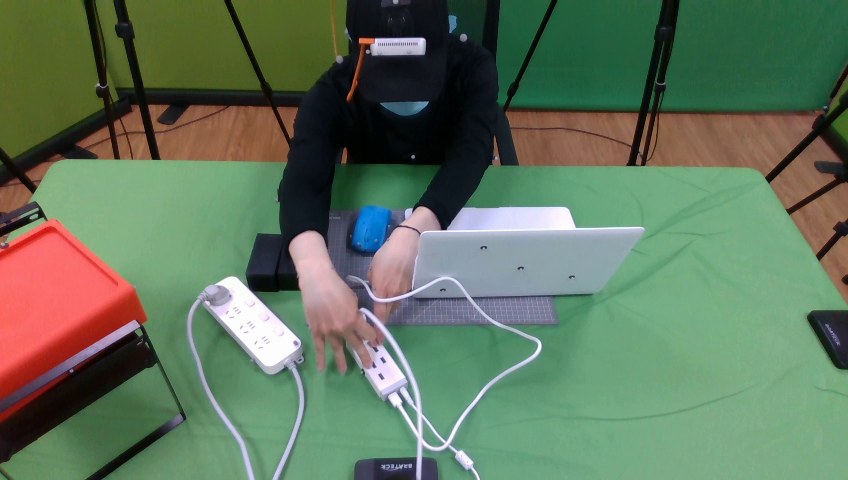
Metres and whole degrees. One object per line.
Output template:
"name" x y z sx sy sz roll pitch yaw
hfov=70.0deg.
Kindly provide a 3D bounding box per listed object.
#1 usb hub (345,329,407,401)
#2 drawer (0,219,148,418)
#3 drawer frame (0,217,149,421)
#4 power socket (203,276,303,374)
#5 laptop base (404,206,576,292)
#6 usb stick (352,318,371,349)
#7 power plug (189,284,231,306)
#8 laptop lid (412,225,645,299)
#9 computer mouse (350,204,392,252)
"usb hub" -0.079 0.202 0.997 0.049 0.025 0.124 -24 53 -24
"drawer" -0.509 0.093 0.783 0.193 0.073 0.211 32 53 24
"drawer frame" -0.510 0.093 0.780 0.201 0.083 0.213 31 52 23
"power socket" -0.296 0.141 1.034 0.072 0.033 0.225 -34 58 -30
"laptop base" 0.143 0.018 1.196 0.355 0.023 0.234 -1 43 -6
"usb stick" -0.103 0.159 0.995 0.027 0.059 0.021 -29 46 -35
"power plug" -0.368 0.100 1.037 0.072 0.053 0.035 -24 54 -26
"laptop lid" 0.161 0.042 1.012 0.357 0.242 0.013 0 59 -7
"computer mouse" -0.104 -0.027 1.202 0.063 0.041 0.116 12 51 3
